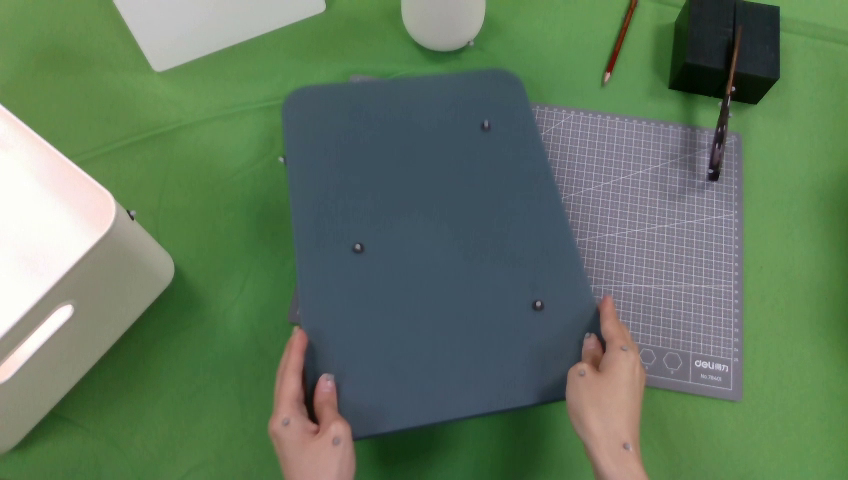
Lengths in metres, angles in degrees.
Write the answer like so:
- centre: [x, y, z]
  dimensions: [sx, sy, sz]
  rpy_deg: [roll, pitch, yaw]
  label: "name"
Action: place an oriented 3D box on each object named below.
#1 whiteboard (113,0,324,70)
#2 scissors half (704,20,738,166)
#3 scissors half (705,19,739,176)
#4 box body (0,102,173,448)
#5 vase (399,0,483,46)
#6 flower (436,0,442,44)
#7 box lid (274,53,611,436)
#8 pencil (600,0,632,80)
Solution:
- centre: [-0.266, -0.381, 0.642]
  dimensions: [0.217, 0.308, 0.142]
  rpy_deg: [-23, 52, -8]
  label: "whiteboard"
- centre: [0.316, -0.159, 0.636]
  dimensions: [0.013, 0.040, 0.174]
  rpy_deg: [11, 72, 23]
  label: "scissors half"
- centre: [0.324, -0.154, 0.654]
  dimensions: [0.012, 0.040, 0.175]
  rpy_deg: [11, 89, 28]
  label: "scissors half"
- centre: [-0.451, -0.010, 0.550]
  dimensions: [0.362, 0.161, 0.253]
  rpy_deg: [35, 74, 11]
  label: "box body"
- centre: [0.018, -0.300, 0.640]
  dimensions: [0.098, 0.201, 0.097]
  rpy_deg: [0, 68, 1]
  label: "vase"
- centre: [0.013, -0.343, 0.567]
  dimensions: [0.044, 0.365, 0.038]
  rpy_deg: [4, 52, 5]
  label: "flower"
- centre: [0.004, -0.023, 0.572]
  dimensions: [0.264, 0.015, 0.368]
  rpy_deg: [-9, 66, -7]
  label: "box lid"
- centre: [0.240, -0.269, 0.730]
  dimensions: [0.012, 0.012, 0.193]
  rpy_deg: [21, 72, 8]
  label: "pencil"
